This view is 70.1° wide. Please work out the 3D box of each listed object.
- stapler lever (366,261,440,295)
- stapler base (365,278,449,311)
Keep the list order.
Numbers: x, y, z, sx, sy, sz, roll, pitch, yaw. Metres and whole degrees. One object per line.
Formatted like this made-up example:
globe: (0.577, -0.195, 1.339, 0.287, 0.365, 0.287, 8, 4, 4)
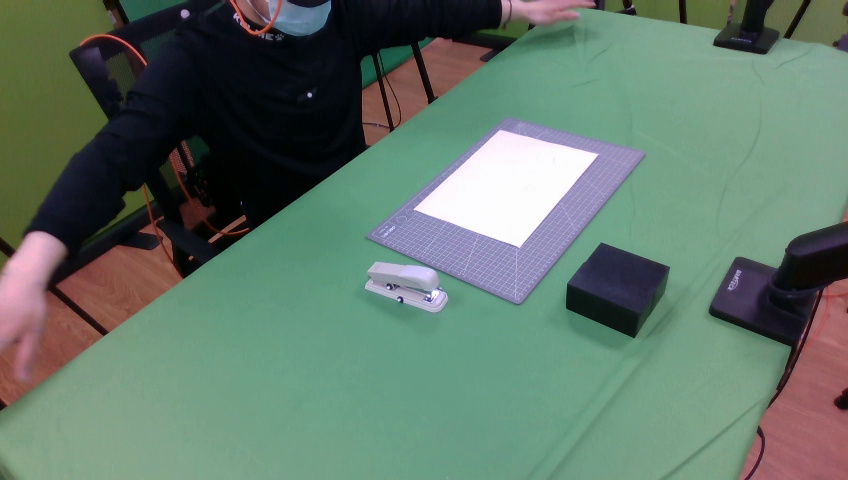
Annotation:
stapler lever: (-0.032, 0.049, 0.878, 0.117, 0.040, 0.027, 15, 43, 26)
stapler base: (-0.027, 0.069, 0.893, 0.129, 0.024, 0.041, 15, 42, 26)
